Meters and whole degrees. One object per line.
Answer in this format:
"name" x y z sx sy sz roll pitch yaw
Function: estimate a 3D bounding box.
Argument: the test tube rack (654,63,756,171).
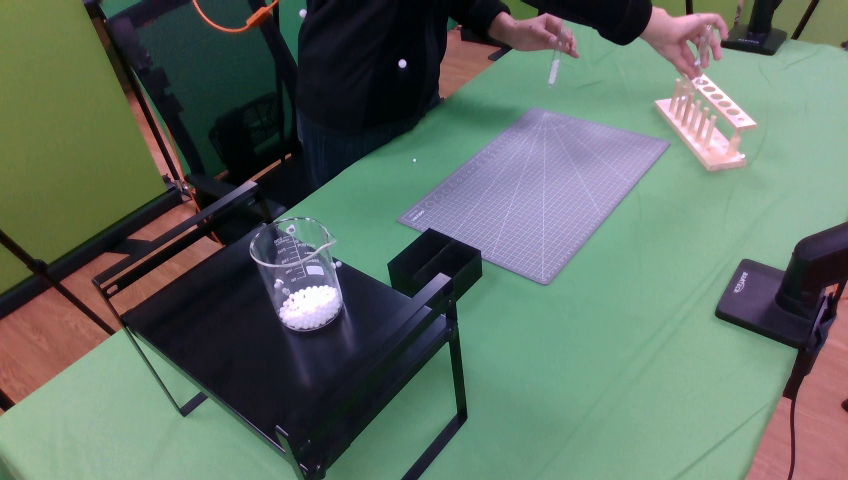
"test tube rack" 0.511 -0.233 1.120 0.067 0.085 0.241 -9 41 -1

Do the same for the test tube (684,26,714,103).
"test tube" 0.480 -0.304 1.057 0.017 0.151 0.017 -3 49 4

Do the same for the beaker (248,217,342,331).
"beaker" -0.124 0.037 0.614 0.084 0.101 0.073 -7 41 0

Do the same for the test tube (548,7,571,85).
"test tube" 0.252 -0.359 1.130 0.017 0.150 0.017 2 44 -2
